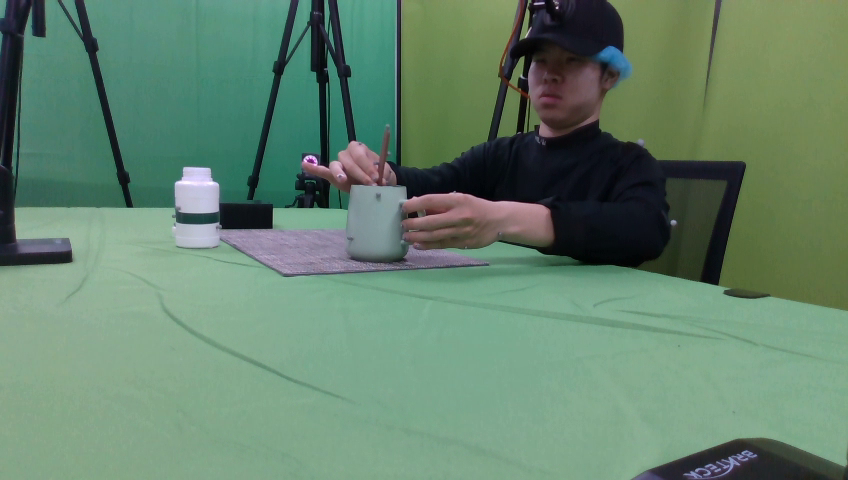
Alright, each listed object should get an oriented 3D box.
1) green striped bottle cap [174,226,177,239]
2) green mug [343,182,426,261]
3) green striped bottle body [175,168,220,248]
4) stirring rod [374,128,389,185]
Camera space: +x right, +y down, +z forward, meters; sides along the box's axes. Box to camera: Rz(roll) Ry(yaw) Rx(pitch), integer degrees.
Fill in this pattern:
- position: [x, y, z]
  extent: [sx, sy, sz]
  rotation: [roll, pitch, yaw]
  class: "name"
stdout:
- position: [-0.404, -0.015, 1.036]
  extent: [0.044, 0.020, 0.044]
  rotation: [-1, 9, 0]
  class: "green striped bottle cap"
- position: [-0.053, -0.026, 0.848]
  extent: [0.125, 0.105, 0.093]
  rotation: [6, 8, 29]
  class: "green mug"
- position: [-0.345, -0.050, 0.924]
  extent: [0.063, 0.119, 0.063]
  rotation: [2, 7, 0]
  class: "green striped bottle body"
- position: [-0.066, -0.067, 0.831]
  extent: [0.006, 0.176, 0.014]
  rotation: [8, 2, -35]
  class: "stirring rod"
